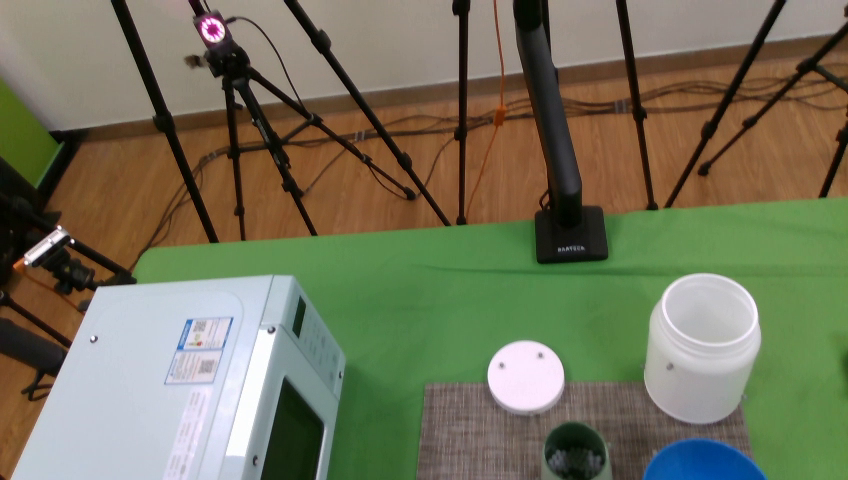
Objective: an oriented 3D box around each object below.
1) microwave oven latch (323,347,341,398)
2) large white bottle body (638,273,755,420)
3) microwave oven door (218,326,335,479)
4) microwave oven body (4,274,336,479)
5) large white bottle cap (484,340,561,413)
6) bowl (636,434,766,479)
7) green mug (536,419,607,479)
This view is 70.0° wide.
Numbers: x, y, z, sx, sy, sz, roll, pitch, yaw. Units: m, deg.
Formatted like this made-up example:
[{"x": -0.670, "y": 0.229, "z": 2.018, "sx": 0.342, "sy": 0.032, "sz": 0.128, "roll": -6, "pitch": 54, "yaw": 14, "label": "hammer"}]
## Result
[{"x": -0.150, "y": 0.208, "z": 0.956, "sx": 0.030, "sy": 0.030, "sz": 0.078, "roll": -4, "pitch": 52, "yaw": 11, "label": "microwave oven latch"}, {"x": 0.356, "y": 0.141, "z": 0.801, "sx": 0.130, "sy": 0.186, "sz": 0.129, "roll": -7, "pitch": 47, "yaw": 8, "label": "large white bottle body"}, {"x": -0.186, "y": 0.318, "z": 0.745, "sx": 0.039, "sy": 0.246, "sz": 0.352, "roll": -5, "pitch": 51, "yaw": 11, "label": "microwave oven door"}, {"x": -0.325, "y": 0.300, "z": 0.802, "sx": 0.325, "sy": 0.263, "sz": 0.437, "roll": -4, "pitch": 52, "yaw": 11, "label": "microwave oven body"}, {"x": 0.148, "y": 0.205, "z": 0.914, "sx": 0.114, "sy": 0.018, "sz": 0.113, "roll": -7, "pitch": 50, "yaw": 9, "label": "large white bottle cap"}, {"x": 0.332, "y": 0.322, "z": 0.733, "sx": 0.151, "sy": 0.077, "sz": 0.150, "roll": -7, "pitch": 51, "yaw": 9, "label": "bowl"}, {"x": 0.195, "y": 0.299, "z": 0.770, "sx": 0.092, "sy": 0.106, "sz": 0.124, "roll": -24, "pitch": 51, "yaw": -6, "label": "green mug"}]
